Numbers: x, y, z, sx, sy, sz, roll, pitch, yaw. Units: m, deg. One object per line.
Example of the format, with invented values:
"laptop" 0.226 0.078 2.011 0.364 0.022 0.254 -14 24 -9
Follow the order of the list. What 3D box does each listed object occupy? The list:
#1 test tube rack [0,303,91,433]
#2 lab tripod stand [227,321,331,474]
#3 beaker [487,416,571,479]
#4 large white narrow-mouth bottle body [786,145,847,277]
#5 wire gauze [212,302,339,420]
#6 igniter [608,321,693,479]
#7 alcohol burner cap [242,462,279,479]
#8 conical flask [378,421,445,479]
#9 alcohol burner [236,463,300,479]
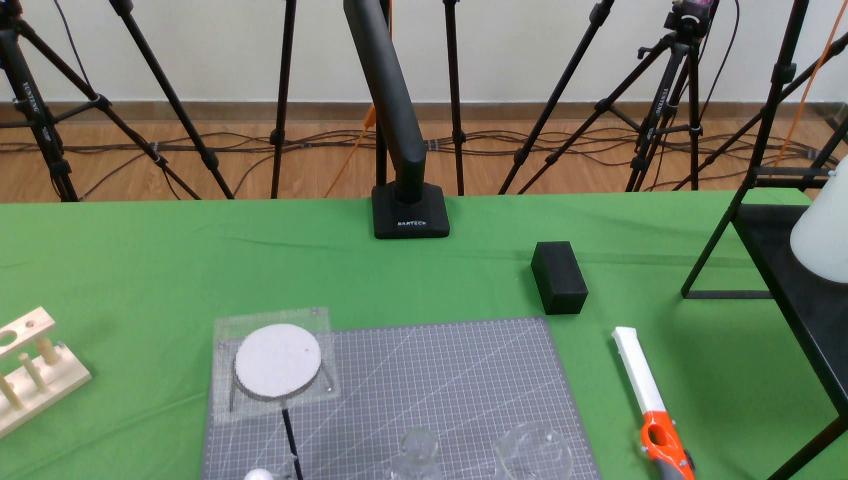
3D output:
"test tube rack" -0.509 0.179 0.659 0.066 0.086 0.242 35 52 24
"lab tripod stand" -0.157 0.167 0.673 0.148 0.132 0.147 5 47 -4
"beaker" 0.106 0.246 0.651 0.084 0.101 0.073 15 46 9
"large white narrow-mouth bottle body" 0.494 -0.054 0.668 0.102 0.196 0.101 3 46 -3
"wire gauze" -0.156 0.118 0.627 0.122 0.011 0.123 -6 49 -13
"igniter" 0.284 0.217 0.753 0.057 0.025 0.273 7 45 -14
"alcohol burner cap" -0.156 0.230 0.577 0.034 0.048 0.033 1 51 -1
"conical flask" -0.010 0.234 0.633 0.075 0.123 0.074 3 46 -3
"alcohol burner" -0.159 0.254 0.604 0.078 0.120 0.077 5 45 -4
